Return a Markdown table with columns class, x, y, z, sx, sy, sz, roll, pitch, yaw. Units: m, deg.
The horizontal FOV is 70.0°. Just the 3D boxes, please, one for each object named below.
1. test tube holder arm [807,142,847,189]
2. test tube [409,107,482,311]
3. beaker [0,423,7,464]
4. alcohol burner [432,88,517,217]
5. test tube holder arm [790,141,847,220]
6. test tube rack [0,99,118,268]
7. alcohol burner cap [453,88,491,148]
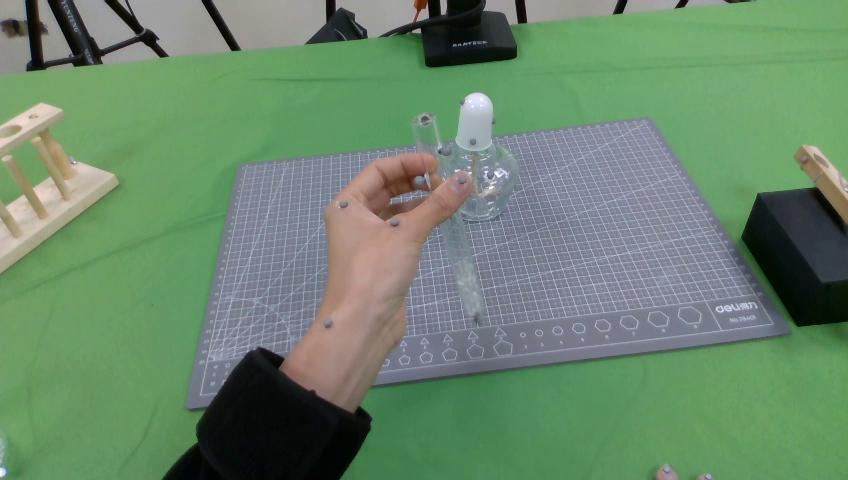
| class | x | y | z | sx | sy | sz | roll | pitch | yaw |
| --- | --- | --- | --- | --- | --- | --- | --- | --- | --- |
| test tube holder arm | 0.328 | -0.017 | 0.453 | 0.013 | 0.015 | 0.176 | 0 | 45 | -6 |
| test tube | 0.016 | -0.013 | 0.387 | 0.017 | 0.151 | 0.017 | -12 | 32 | 8 |
| beaker | -0.328 | 0.122 | 0.383 | 0.084 | 0.101 | 0.073 | -24 | 47 | -17 |
| alcohol burner | 0.044 | -0.080 | 0.540 | 0.078 | 0.120 | 0.077 | -3 | 43 | 3 |
| test tube holder arm | 0.320 | -0.049 | 0.484 | 0.010 | 0.015 | 0.087 | 1 | 45 | -6 |
| test tube rack | -0.412 | -0.026 | 0.552 | 0.066 | 0.086 | 0.241 | 19 | 49 | 22 |
| alcohol burner cap | 0.042 | -0.105 | 0.514 | 0.034 | 0.048 | 0.033 | 1 | 44 | -1 |
